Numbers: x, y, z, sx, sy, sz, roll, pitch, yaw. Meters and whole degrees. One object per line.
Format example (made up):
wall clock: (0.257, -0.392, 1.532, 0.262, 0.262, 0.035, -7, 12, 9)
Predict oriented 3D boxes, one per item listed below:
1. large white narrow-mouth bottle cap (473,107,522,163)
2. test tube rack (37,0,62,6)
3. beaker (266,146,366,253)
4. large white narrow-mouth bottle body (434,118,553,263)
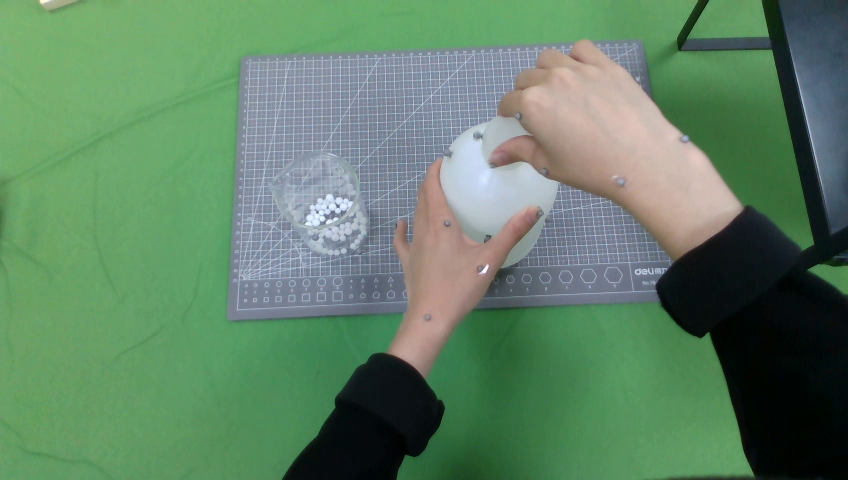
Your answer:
large white narrow-mouth bottle cap: (0.054, -0.076, 0.446, 0.038, 0.024, 0.037, -1, 73, 3)
test tube rack: (-0.346, -0.359, 0.686, 0.242, 0.085, 0.066, -23, 74, -6)
beaker: (-0.097, -0.033, 0.574, 0.084, 0.101, 0.073, 8, 72, 4)
large white narrow-mouth bottle body: (0.060, -0.049, 0.529, 0.102, 0.196, 0.101, -1, 73, 3)
